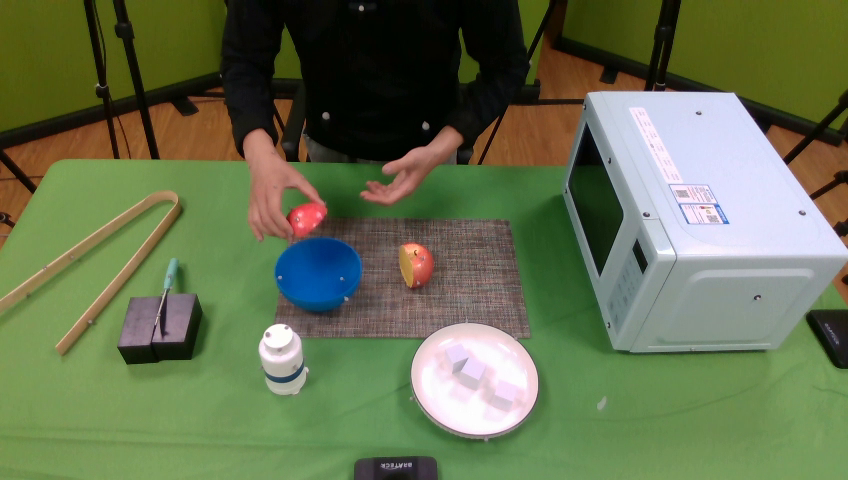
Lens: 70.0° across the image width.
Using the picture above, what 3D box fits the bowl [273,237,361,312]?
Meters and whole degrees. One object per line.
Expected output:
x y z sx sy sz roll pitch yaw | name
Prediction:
-0.186 0.075 1.070 0.151 0.077 0.150 3 46 -3 | bowl

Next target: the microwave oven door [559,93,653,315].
0.327 -0.074 1.123 0.039 0.245 0.353 -1 46 -5 | microwave oven door

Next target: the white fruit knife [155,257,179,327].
-0.440 0.085 1.037 0.016 0.027 0.206 10 26 -19 | white fruit knife

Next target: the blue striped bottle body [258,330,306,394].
-0.220 0.182 0.937 0.063 0.121 0.062 2 46 -2 | blue striped bottle body

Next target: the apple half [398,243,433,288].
-0.012 0.046 1.115 0.053 0.075 0.080 -11 44 -19 | apple half

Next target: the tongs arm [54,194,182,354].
-0.543 0.048 1.107 0.028 0.028 0.385 11 46 10 | tongs arm

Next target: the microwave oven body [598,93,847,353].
0.475 -0.041 1.109 0.326 0.261 0.438 -1 45 -4 | microwave oven body

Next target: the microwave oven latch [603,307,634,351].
0.332 0.153 1.044 0.030 0.029 0.078 0 45 -4 | microwave oven latch

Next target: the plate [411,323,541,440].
0.082 0.228 0.976 0.208 0.039 0.206 2 45 -2 | plate

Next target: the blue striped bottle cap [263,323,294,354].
-0.217 0.146 0.900 0.044 0.021 0.044 1 46 -1 | blue striped bottle cap

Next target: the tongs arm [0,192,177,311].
-0.618 0.019 1.124 0.050 0.026 0.384 24 47 16 | tongs arm

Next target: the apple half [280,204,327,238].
-0.199 -0.040 0.978 0.081 0.033 0.081 -17 32 11 | apple half
